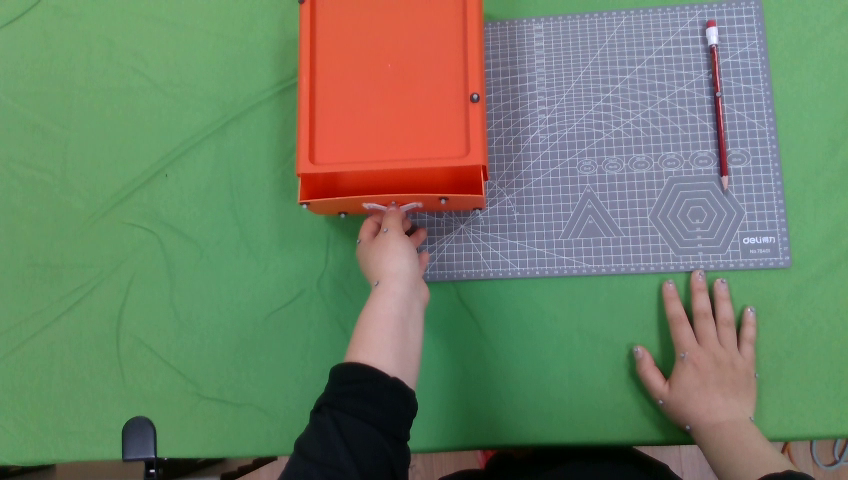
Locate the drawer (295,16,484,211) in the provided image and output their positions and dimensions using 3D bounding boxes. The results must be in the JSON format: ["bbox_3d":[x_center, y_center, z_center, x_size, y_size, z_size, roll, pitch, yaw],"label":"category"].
[{"bbox_3d":[-0.035,-0.139,0.659,0.194,0.073,0.211,-2,81,8],"label":"drawer"}]

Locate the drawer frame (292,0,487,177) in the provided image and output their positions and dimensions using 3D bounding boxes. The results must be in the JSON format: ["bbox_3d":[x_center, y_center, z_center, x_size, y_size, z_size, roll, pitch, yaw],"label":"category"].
[{"bbox_3d":[-0.036,-0.170,0.662,0.201,0.083,0.213,-3,81,8],"label":"drawer frame"}]

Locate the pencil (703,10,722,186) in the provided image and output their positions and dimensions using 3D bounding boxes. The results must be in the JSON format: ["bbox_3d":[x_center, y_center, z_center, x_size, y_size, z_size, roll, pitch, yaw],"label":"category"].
[{"bbox_3d":[0.313,-0.154,0.655,0.012,0.012,0.193,-2,85,7],"label":"pencil"}]
